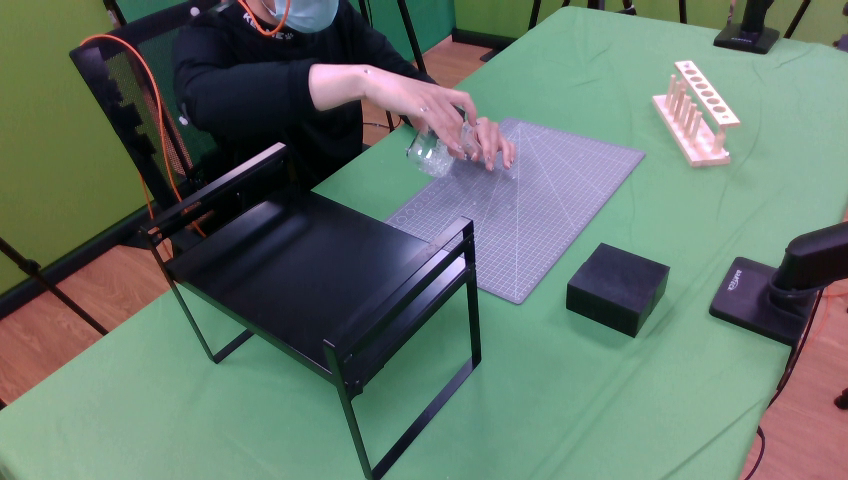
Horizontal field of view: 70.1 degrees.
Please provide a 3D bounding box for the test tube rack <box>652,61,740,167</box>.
[{"bbox_3d":[0.499,-0.242,1.130,0.067,0.085,0.241,-5,41,4],"label":"test tube rack"}]

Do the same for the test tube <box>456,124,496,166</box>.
[{"bbox_3d":[0.089,-0.155,1.005,0.017,0.151,0.017,-8,72,25],"label":"test tube"}]

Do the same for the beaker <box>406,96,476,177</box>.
[{"bbox_3d":[0.025,-0.151,0.902,0.073,0.084,0.100,24,85,26],"label":"beaker"}]
